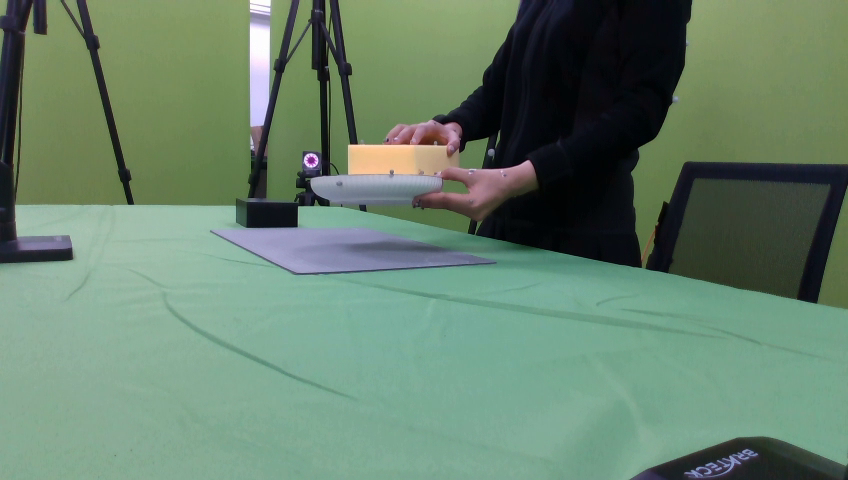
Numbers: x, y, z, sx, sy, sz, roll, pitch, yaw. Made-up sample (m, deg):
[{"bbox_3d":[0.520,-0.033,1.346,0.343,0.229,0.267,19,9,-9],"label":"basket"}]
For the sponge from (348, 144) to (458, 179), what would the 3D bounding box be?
[{"bbox_3d":[-0.029,-0.131,1.025,0.118,0.061,0.207,3,10,21],"label":"sponge"}]

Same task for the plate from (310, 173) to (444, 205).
[{"bbox_3d":[-0.072,-0.078,0.947,0.209,0.038,0.209,-1,1,0],"label":"plate"}]
